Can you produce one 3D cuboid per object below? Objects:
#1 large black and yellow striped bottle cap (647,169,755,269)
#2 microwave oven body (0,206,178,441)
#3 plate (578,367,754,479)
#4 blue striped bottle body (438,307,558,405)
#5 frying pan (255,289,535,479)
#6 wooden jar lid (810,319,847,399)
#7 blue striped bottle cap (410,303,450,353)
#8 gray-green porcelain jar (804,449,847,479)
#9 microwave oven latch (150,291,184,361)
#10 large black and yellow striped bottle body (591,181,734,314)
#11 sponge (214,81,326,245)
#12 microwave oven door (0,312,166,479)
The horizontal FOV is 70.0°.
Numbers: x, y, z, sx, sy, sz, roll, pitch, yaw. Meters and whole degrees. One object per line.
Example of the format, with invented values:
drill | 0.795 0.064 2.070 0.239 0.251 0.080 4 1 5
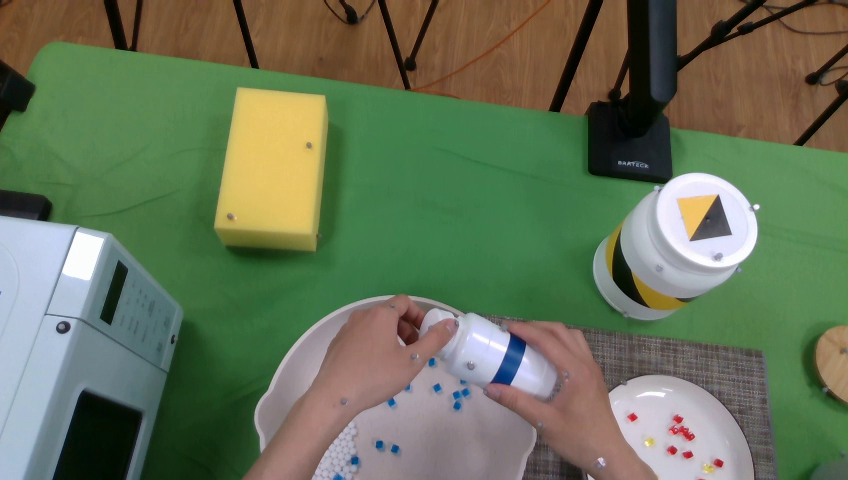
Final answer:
large black and yellow striped bottle cap | 0.304 -0.025 0.664 0.115 0.019 0.114 2 67 -5
microwave oven body | -0.462 0.204 0.542 0.326 0.261 0.438 8 69 -3
plate | 0.282 0.256 0.719 0.209 0.038 0.207 2 69 -5
blue striped bottle body | 0.062 0.107 0.582 0.121 0.063 0.063 26 67 -9
frying pan | -0.041 0.292 0.637 0.307 0.103 0.483 6 60 -1
wooden jar lid | 0.561 0.159 0.800 0.108 0.021 0.107 2 70 -5
blue striped bottle cap | 0.008 0.082 0.572 0.021 0.044 0.044 29 64 -30
gray-green porcelain jar | 0.511 0.291 0.686 0.106 0.127 0.105 2 68 -5
microwave oven latch | -0.302 0.099 0.704 0.030 0.029 0.078 8 69 -3
large black and yellow striped bottle body | 0.296 0.007 0.744 0.131 0.185 0.130 2 68 -5
sponge | -0.198 -0.102 0.800 0.118 0.061 0.205 3 69 -5
microwave oven door | -0.323 0.261 0.528 0.039 0.245 0.353 8 68 -3
